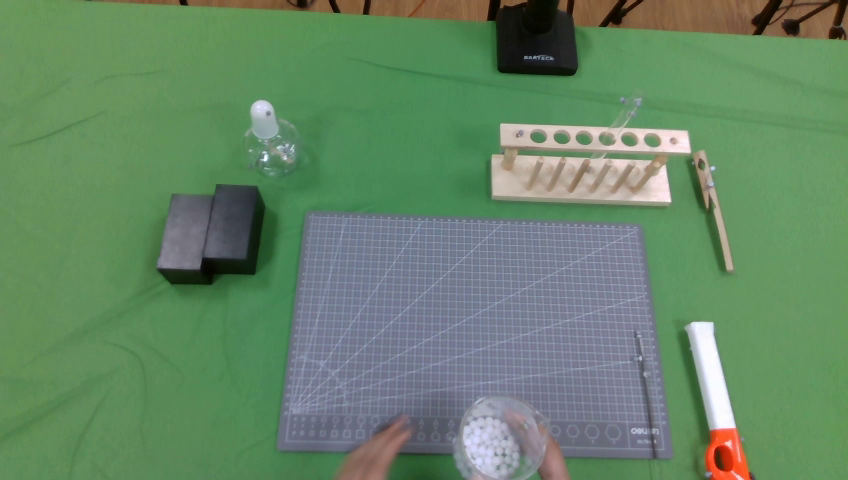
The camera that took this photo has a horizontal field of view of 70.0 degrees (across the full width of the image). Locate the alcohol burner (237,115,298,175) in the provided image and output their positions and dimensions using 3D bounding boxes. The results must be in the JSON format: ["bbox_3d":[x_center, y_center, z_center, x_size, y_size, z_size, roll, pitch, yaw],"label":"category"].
[{"bbox_3d":[-0.204,-0.136,0.778,0.078,0.120,0.077,1,64,-1],"label":"alcohol burner"}]

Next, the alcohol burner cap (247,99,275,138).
[{"bbox_3d":[-0.202,-0.153,0.746,0.034,0.048,0.033,4,60,-7],"label":"alcohol burner cap"}]

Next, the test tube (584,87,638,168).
[{"bbox_3d":[0.232,-0.138,0.766,0.017,0.151,0.017,4,62,-6],"label":"test tube"}]

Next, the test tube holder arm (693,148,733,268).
[{"bbox_3d":[0.392,-0.046,0.825,0.013,0.015,0.177,-19,64,27],"label":"test tube holder arm"}]

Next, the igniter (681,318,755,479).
[{"bbox_3d":[0.342,0.224,0.699,0.057,0.025,0.274,3,65,-13],"label":"igniter"}]

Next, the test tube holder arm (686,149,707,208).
[{"bbox_3d":[0.383,-0.086,0.845,0.010,0.015,0.087,-19,64,27],"label":"test tube holder arm"}]

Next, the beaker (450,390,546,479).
[{"bbox_3d":[0.064,0.184,0.556,0.084,0.101,0.073,-18,66,-12],"label":"beaker"}]

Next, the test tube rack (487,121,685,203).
[{"bbox_3d":[0.211,-0.101,0.803,0.242,0.086,0.066,2,66,-2],"label":"test tube rack"}]

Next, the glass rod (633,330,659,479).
[{"bbox_3d":[0.261,0.203,0.710,0.008,0.008,0.198,2,66,-3],"label":"glass rod"}]
